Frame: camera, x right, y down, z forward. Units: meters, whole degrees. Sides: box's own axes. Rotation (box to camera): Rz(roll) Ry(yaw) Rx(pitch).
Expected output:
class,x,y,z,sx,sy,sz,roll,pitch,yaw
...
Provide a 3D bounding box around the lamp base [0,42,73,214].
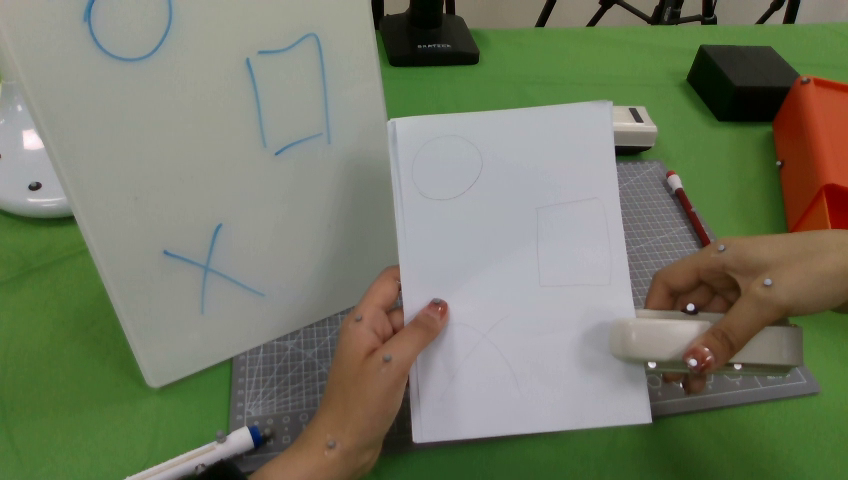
class,x,y,z,sx,sy,sz,roll,pitch,yaw
lamp base,-0.347,-0.140,0.536,0.178,0.182,0.160,24,48,21

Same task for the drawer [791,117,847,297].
class,x,y,z,sx,sy,sz,roll,pitch,yaw
drawer,0.465,-0.024,0.584,0.194,0.074,0.210,15,45,10

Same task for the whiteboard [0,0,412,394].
class,x,y,z,sx,sy,sz,roll,pitch,yaw
whiteboard,-0.152,-0.083,0.455,0.217,0.308,0.142,-21,32,-23

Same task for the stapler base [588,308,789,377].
class,x,y,z,sx,sy,sz,roll,pitch,yaw
stapler base,0.173,0.066,0.388,0.130,0.024,0.041,2,87,0

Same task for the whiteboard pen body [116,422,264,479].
class,x,y,z,sx,sy,sz,roll,pitch,yaw
whiteboard pen body,-0.171,0.149,0.380,0.141,0.017,0.017,-18,50,-25

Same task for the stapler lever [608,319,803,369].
class,x,y,z,sx,sy,sz,roll,pitch,yaw
stapler lever,0.174,0.064,0.370,0.118,0.040,0.027,1,86,7

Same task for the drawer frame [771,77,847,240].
class,x,y,z,sx,sy,sz,roll,pitch,yaw
drawer frame,0.484,-0.068,0.627,0.201,0.083,0.212,14,45,9

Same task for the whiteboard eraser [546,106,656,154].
class,x,y,z,sx,sy,sz,roll,pitch,yaw
whiteboard eraser,0.197,-0.123,0.680,0.113,0.042,0.055,0,46,-6

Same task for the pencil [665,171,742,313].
class,x,y,z,sx,sy,sz,roll,pitch,yaw
pencil,0.269,-0.001,0.585,0.012,0.012,0.192,0,48,-6
